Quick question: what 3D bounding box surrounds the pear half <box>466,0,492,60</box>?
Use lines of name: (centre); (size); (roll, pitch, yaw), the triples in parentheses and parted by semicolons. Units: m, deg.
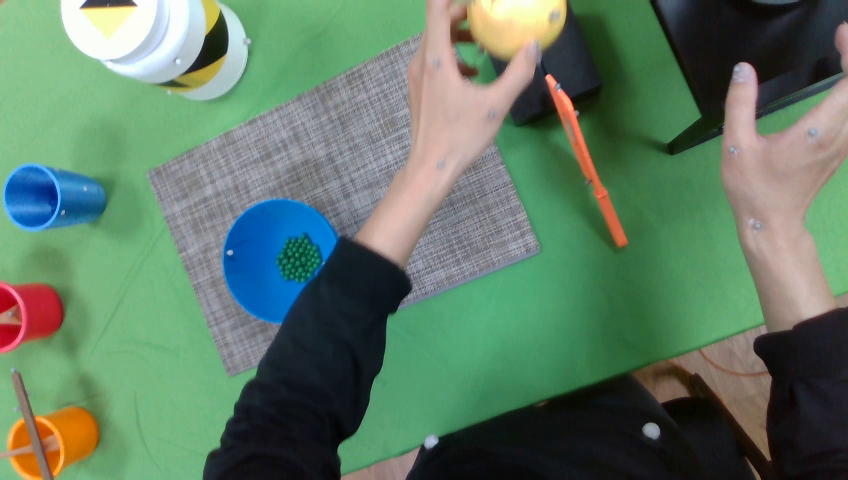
pear half: (0.050, -0.183, 0.490); (0.031, 0.088, 0.071); (19, 111, 20)

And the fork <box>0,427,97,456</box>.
fork: (-0.558, 0.282, 0.814); (0.208, 0.018, 0.028); (-4, 103, -31)

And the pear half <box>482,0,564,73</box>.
pear half: (0.077, -0.168, 0.471); (0.055, 0.110, 0.076); (19, 112, 20)

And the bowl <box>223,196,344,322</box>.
bowl: (-0.161, 0.022, 0.750); (0.151, 0.077, 0.151); (1, 93, 12)

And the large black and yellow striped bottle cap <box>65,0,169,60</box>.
large black and yellow striped bottle cap: (-0.323, -0.249, 0.635); (0.115, 0.019, 0.115); (1, 94, 13)

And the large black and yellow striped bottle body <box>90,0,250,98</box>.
large black and yellow striped bottle body: (-0.306, -0.251, 0.718); (0.130, 0.184, 0.131); (0, 92, 12)

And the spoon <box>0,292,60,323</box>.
spoon: (-0.604, 0.111, 0.820); (0.194, 0.021, 0.041); (-15, 90, -31)

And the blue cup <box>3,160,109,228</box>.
blue cup: (-0.480, -0.060, 0.806); (0.092, 0.100, 0.092); (1, 93, 10)

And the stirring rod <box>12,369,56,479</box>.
stirring rod: (-0.514, 0.255, 0.802); (0.014, 0.006, 0.176); (-18, 89, 9)

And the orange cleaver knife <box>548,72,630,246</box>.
orange cleaver knife: (0.183, -0.087, 0.673); (0.012, 0.076, 0.213); (-26, 117, 9)
